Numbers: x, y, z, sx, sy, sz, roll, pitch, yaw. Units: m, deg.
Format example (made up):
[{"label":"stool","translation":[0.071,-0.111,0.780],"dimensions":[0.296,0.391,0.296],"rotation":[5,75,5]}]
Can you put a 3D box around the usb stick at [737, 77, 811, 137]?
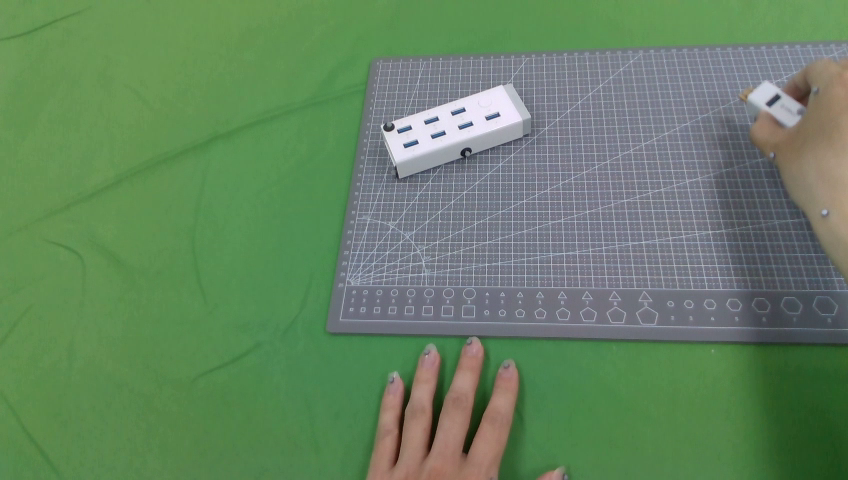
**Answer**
[{"label":"usb stick","translation":[0.276,-0.110,0.484],"dimensions":[0.021,0.027,0.058],"rotation":[-43,54,9]}]

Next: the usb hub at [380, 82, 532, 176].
[{"label":"usb hub","translation":[0.028,-0.099,0.532],"dimensions":[0.125,0.025,0.049],"rotation":[-19,58,-5]}]
